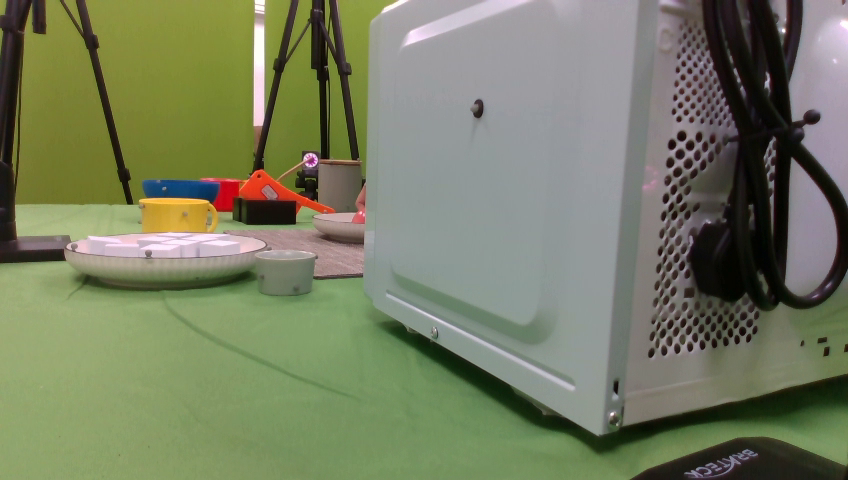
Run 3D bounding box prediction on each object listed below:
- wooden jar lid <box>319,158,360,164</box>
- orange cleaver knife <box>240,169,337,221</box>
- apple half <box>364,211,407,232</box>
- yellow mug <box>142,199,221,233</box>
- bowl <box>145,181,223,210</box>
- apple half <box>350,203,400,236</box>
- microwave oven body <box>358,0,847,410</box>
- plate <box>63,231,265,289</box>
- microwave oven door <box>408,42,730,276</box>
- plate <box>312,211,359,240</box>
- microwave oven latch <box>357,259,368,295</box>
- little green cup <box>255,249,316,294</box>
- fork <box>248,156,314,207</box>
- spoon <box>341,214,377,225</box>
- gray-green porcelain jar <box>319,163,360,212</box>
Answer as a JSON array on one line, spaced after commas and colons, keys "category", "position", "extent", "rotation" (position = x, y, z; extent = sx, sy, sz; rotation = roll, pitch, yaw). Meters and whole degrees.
[{"category": "wooden jar lid", "position": [-0.203, -0.189, 1.482], "extent": [0.108, 0.020, 0.108], "rotation": [2, 10, 0]}, {"category": "orange cleaver knife", "position": [-0.286, -0.082, 1.298], "extent": [0.212, 0.077, 0.012], "rotation": [25, -2, -31]}, {"category": "apple half", "position": [-0.068, -0.037, 1.103], "extent": [0.081, 0.033, 0.081], "rotation": [-1, 10, 1]}, {"category": "yellow mug", "position": [-0.372, -0.030, 0.947], "extent": [0.099, 0.064, 0.131], "rotation": [6, 7, 30]}, {"category": "bowl", "position": [-0.499, -0.081, 1.261], "extent": [0.151, 0.077, 0.151], "rotation": [2, 7, 0]}, {"category": "apple half", "position": [-0.081, -0.036, 1.024], "extent": [0.081, 0.053, 0.074], "rotation": [-2, 11, -34]}, {"category": "microwave oven body", "position": [0.210, -0.051, 0.471], "extent": [0.444, 0.260, 0.324], "rotation": [-1, 7, -28]}, {"category": "plate", "position": [-0.288, 0.021, 0.687], "extent": [0.208, 0.039, 0.207], "rotation": [2, 8, 0]}, {"category": "microwave oven door", "position": [0.164, -0.083, 0.668], "extent": [0.357, 0.243, 0.039], "rotation": [0, 8, -10]}, {"category": "plate", "position": [-0.091, -0.026, 1.063], "extent": [0.209, 0.038, 0.209], "rotation": [2, 7, 0]}, {"category": "microwave oven latch", "position": [-0.019, 0.031, 0.529], "extent": [0.079, 0.029, 0.030], "rotation": [-1, 7, -26]}, {"category": "little green cup", "position": [-0.144, 0.032, 0.626], "extent": [0.061, 0.038, 0.061], "rotation": [4, 7, 0]}, {"category": "fork", "position": [-0.360, -0.147, 1.523], "extent": [0.207, 0.018, 0.028], "rotation": [-43, 15, -6]}, {"category": "spoon", "position": [-0.132, -0.048, 1.305], "extent": [0.041, 0.021, 0.194], "rotation": [-14, 3, 14]}, {"category": "gray-green porcelain jar", "position": [-0.204, -0.126, 1.489], "extent": [0.106, 0.126, 0.106], "rotation": [2, 7, 0]}]
